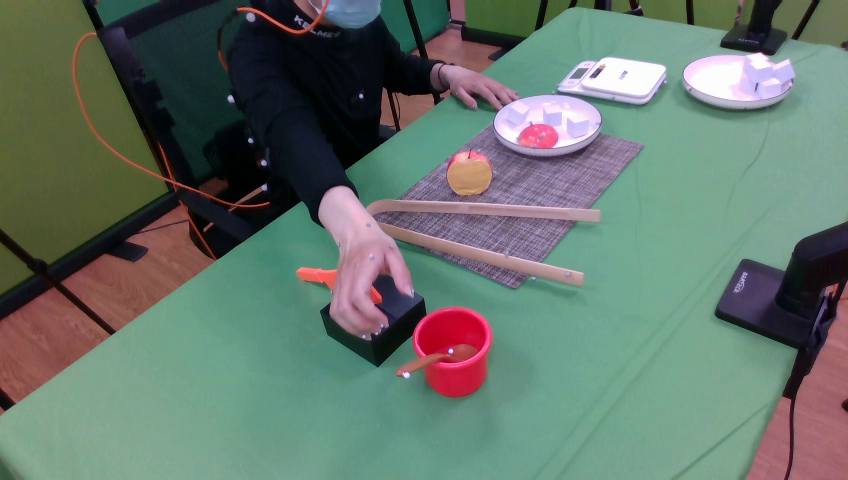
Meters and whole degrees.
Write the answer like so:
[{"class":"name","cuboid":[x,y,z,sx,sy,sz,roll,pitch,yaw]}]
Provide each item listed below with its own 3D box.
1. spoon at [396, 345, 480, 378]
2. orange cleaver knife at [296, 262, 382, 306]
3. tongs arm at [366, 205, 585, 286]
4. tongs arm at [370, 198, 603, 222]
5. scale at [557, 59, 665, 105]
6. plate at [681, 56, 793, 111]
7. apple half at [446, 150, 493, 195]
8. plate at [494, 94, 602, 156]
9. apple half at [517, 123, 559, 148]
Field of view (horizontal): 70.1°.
[{"class":"spoon","cuboid":[0.017,0.142,0.715,0.041,0.021,0.195,22,5,27]},{"class":"orange cleaver knife","cuboid":[-0.127,0.064,0.875,0.012,0.077,0.210,-43,21,-28]},{"class":"tongs arm","cuboid":[0.067,0.004,0.951,0.382,0.026,0.051,13,46,24]},{"class":"tongs arm","cuboid":[0.098,-0.048,1.008,0.386,0.028,0.028,3,46,13]},{"class":"scale","cuboid":[0.407,-0.348,1.314,0.199,0.032,0.149,19,47,28]},{"class":"plate","cuboid":[0.636,-0.317,1.239,0.207,0.039,0.206,-4,40,4]},{"class":"apple half","cuboid":[0.080,-0.123,1.065,0.081,0.075,0.053,-7,36,7]},{"class":"plate","cuboid":[0.240,-0.220,1.181,0.209,0.038,0.208,-4,41,4]},{"class":"apple half","cuboid":[0.221,-0.207,1.161,0.081,0.033,0.081,-6,43,6]}]
